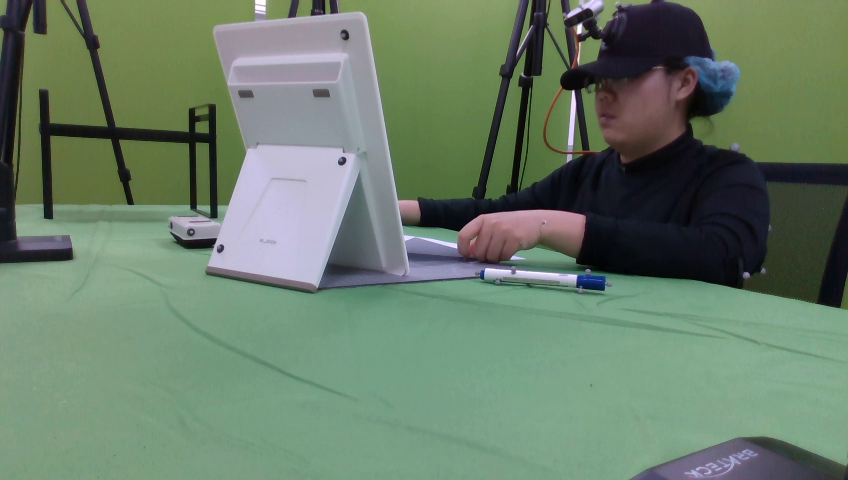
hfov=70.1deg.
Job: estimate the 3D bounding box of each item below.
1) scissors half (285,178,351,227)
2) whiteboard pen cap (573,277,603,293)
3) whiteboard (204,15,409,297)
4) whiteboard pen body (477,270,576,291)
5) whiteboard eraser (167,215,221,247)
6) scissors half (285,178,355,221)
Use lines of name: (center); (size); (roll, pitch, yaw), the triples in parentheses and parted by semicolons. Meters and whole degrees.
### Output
scissors half: (-0.233, -0.084, 1.319); (0.175, 0.013, 0.040); (37, 23, 1)
whiteboard pen cap: (0.186, 0.051, 0.687); (0.033, 0.018, 0.018); (4, 8, 17)
whiteboard: (-0.166, -0.072, 0.669); (0.216, 0.305, 0.144); (8, 30, 30)
whiteboard pen body: (0.131, 0.048, 0.707); (0.140, 0.017, 0.017); (4, 8, 17)
whiteboard eraser: (-0.350, -0.014, 0.920); (0.056, 0.042, 0.112); (0, 7, -35)
scissors half: (-0.230, -0.091, 1.338); (0.176, 0.013, 0.040); (30, 18, -17)
